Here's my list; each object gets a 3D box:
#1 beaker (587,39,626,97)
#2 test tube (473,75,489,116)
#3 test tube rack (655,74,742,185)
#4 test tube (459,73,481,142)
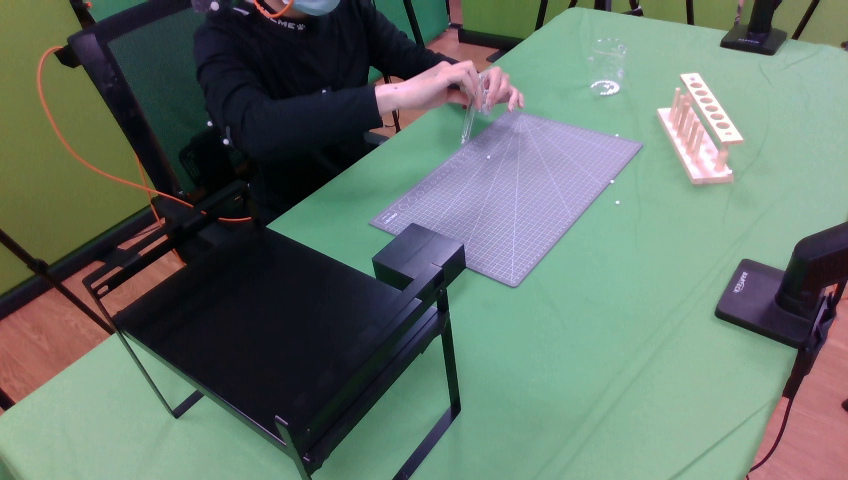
[{"bbox_3d":[0.386,-0.361,1.280,0.074,0.101,0.083,-22,43,-15],"label":"beaker"},{"bbox_3d":[0.108,-0.267,1.126,0.017,0.151,0.017,-2,78,11],"label":"test tube"},{"bbox_3d":[0.488,-0.205,1.093,0.067,0.085,0.241,-3,41,5],"label":"test tube rack"},{"bbox_3d":[0.078,-0.223,1.016,0.017,0.017,0.150,5,59,14],"label":"test tube"}]
